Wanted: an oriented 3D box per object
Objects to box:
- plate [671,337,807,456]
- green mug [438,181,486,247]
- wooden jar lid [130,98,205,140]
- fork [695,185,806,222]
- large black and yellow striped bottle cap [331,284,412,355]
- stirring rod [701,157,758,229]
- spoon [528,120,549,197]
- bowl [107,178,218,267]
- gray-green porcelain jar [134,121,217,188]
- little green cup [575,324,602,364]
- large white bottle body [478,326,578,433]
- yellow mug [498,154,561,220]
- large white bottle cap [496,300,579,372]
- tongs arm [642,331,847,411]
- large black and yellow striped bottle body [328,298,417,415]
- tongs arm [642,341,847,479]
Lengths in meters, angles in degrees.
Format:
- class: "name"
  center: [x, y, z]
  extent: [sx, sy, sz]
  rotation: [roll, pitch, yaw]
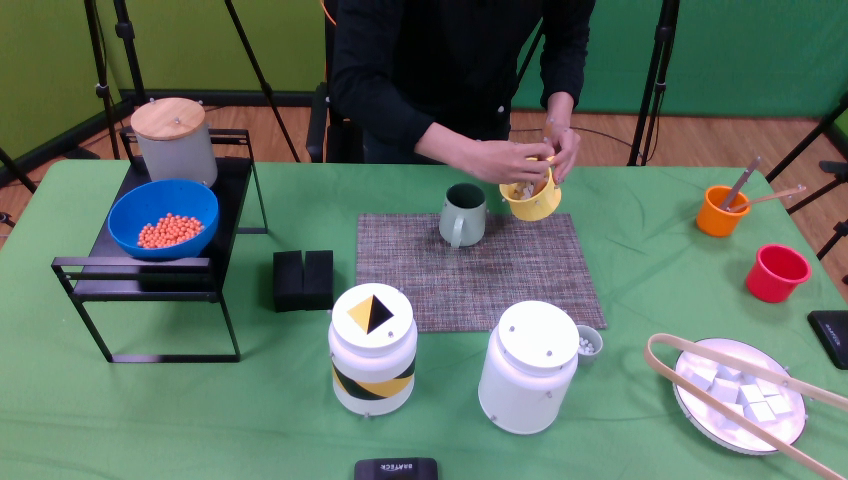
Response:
- class: "plate"
  center: [0.504, 0.254, 0.984]
  extent: [0.208, 0.039, 0.206]
  rotation: [2, 46, -2]
- class: "green mug"
  center: [0.072, -0.039, 1.178]
  extent: [0.092, 0.105, 0.124]
  rotation: [12, 47, 7]
- class: "wooden jar lid"
  center: [-0.393, -0.183, 0.934]
  extent: [0.108, 0.021, 0.107]
  rotation: [2, 44, -2]
- class: "fork"
  center: [0.658, -0.074, 1.230]
  extent: [0.207, 0.019, 0.028]
  rotation: [-23, 36, 37]
- class: "large black and yellow striped bottle cap"
  center: [-0.073, 0.110, 0.858]
  extent: [0.115, 0.019, 0.114]
  rotation: [2, 46, -2]
- class: "stirring rod"
  center: [0.634, -0.096, 1.257]
  extent: [0.014, 0.006, 0.176]
  rotation: [38, 97, 30]
- class: "spoon"
  center: [0.197, -0.133, 1.047]
  extent: [0.041, 0.195, 0.021]
  rotation: [-36, 57, -20]
- class: "bowl"
  center: [-0.374, -0.014, 0.893]
  extent: [0.151, 0.077, 0.150]
  rotation: [2, 46, -2]
- class: "gray-green porcelain jar"
  center: [-0.397, -0.141, 0.979]
  extent: [0.106, 0.127, 0.105]
  rotation: [2, 47, -2]
- class: "little green cup"
  center: [0.269, 0.180, 1.036]
  extent: [0.061, 0.039, 0.061]
  rotation: [3, 46, -2]
- class: "large white bottle body"
  center: [0.156, 0.192, 0.913]
  extent: [0.131, 0.185, 0.130]
  rotation: [2, 46, -2]
- class: "yellow mug"
  center: [0.205, -0.107, 1.122]
  extent: [0.131, 0.064, 0.099]
  rotation: [-45, 48, -4]
- class: "large white bottle cap"
  center: [0.160, 0.133, 0.852]
  extent: [0.115, 0.018, 0.114]
  rotation: [3, 46, -2]
- class: "tongs arm"
  center: [0.546, 0.227, 0.968]
  extent: [0.384, 0.026, 0.050]
  rotation: [22, 52, 13]
- class: "large black and yellow striped bottle body"
  center: [-0.078, 0.167, 0.920]
  extent: [0.131, 0.185, 0.130]
  rotation: [2, 46, -2]
- class: "tongs arm"
  center: [0.504, 0.278, 0.918]
  extent: [0.386, 0.028, 0.028]
  rotation: [34, 59, 22]
